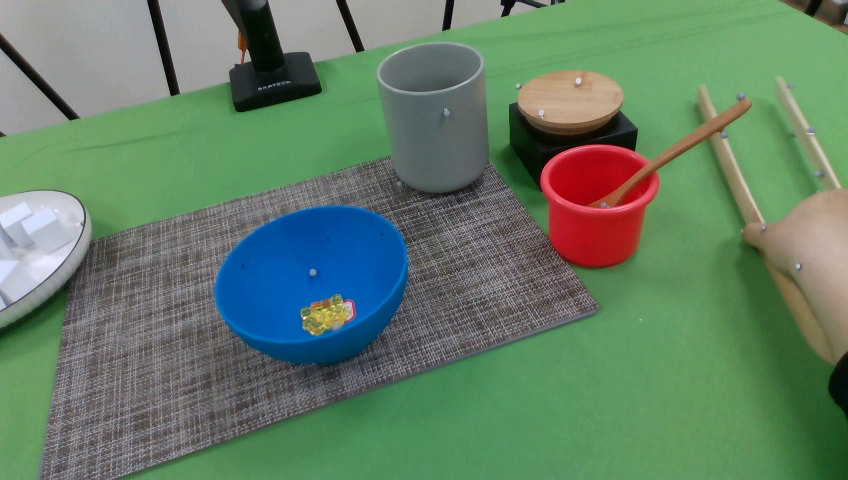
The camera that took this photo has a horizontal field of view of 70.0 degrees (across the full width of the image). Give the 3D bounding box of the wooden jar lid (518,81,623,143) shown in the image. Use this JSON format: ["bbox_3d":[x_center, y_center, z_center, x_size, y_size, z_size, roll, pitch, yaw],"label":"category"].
[{"bbox_3d":[0.154,-0.135,0.640,0.108,0.021,0.107,-5,42,5],"label":"wooden jar lid"}]

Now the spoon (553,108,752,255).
[{"bbox_3d":[0.189,-0.046,0.517,0.194,0.022,0.041,-43,31,30],"label":"spoon"}]

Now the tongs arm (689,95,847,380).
[{"bbox_3d":[0.309,-0.032,0.569,0.028,0.028,0.383,-4,42,6],"label":"tongs arm"}]

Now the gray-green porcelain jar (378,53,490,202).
[{"bbox_3d":[0.014,-0.112,0.627,0.106,0.128,0.105,-5,42,5],"label":"gray-green porcelain jar"}]

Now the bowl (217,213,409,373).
[{"bbox_3d":[-0.081,0.055,0.494,0.151,0.077,0.150,-5,42,5],"label":"bowl"}]

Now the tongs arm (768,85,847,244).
[{"bbox_3d":[0.357,-0.036,0.559,0.050,0.027,0.381,-4,42,11],"label":"tongs arm"}]

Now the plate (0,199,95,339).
[{"bbox_3d":[-0.433,0.037,0.608,0.209,0.038,0.207,-5,42,5],"label":"plate"}]
